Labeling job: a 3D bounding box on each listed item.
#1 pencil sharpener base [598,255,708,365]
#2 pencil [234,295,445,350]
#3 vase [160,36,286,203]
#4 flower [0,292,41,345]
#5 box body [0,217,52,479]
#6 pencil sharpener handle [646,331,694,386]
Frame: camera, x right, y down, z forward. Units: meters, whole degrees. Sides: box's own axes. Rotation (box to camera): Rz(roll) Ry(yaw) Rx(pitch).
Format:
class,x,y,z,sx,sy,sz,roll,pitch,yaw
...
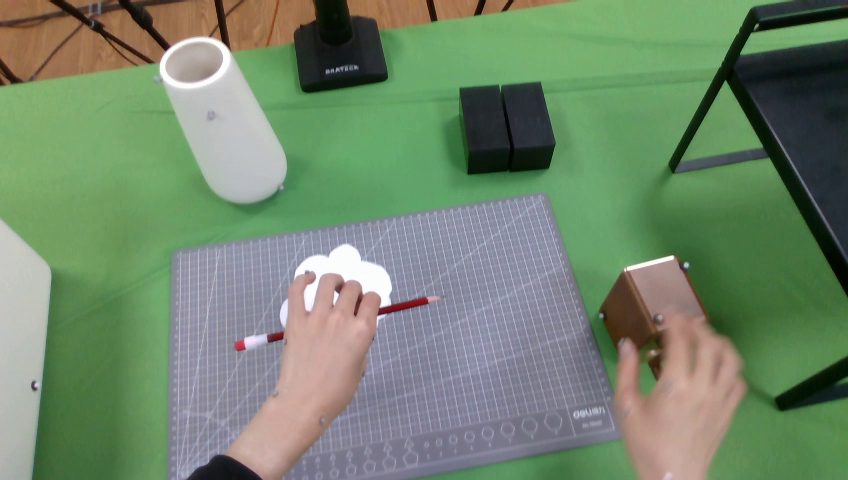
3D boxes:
class,x,y,z,sx,sy,sz,roll,pitch,yaw
pencil sharpener base,0.226,0.076,0.609,0.061,0.108,0.076,-13,62,-6
pencil,-0.074,0.072,0.551,0.194,0.012,0.012,-13,61,-7
vase,-0.220,-0.127,0.674,0.098,0.201,0.097,-1,60,2
flower,-0.509,0.188,0.625,0.038,0.044,0.358,-18,36,28
box body,-0.512,0.153,0.548,0.254,0.161,0.360,-11,62,-5
pencil sharpener handle,0.235,0.114,0.574,0.036,0.068,0.030,-7,61,-18
